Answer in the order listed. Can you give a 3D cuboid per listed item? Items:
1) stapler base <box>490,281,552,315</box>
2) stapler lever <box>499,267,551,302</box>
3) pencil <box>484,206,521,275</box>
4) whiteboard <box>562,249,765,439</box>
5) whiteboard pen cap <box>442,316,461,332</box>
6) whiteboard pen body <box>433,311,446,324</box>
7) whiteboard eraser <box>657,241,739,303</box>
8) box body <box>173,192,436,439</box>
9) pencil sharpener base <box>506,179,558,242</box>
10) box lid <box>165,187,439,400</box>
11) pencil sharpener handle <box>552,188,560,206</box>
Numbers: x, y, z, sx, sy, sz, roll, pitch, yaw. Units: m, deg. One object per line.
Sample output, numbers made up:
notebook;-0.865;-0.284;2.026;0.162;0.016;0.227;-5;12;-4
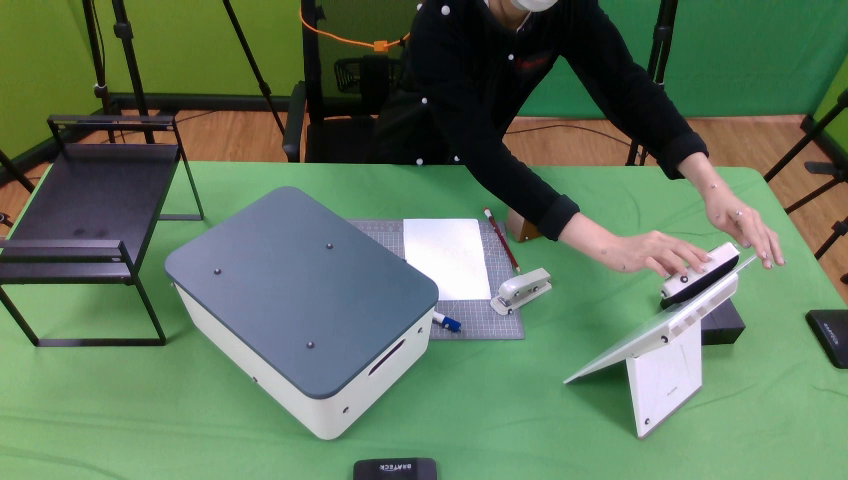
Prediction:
stapler base;0.181;0.094;1.118;0.130;0.024;0.041;-24;57;-29
stapler lever;0.185;0.077;1.101;0.118;0.040;0.026;-24;57;-29
pencil;0.158;-0.001;1.218;0.012;0.012;0.192;-10;48;-14
whiteboard;0.386;0.176;0.905;0.217;0.306;0.143;-26;72;-26
whiteboard pen cap;0.048;0.146;1.060;0.033;0.018;0.018;24;49;16
whiteboard pen body;-0.004;0.123;1.074;0.140;0.017;0.017;24;49;15
whiteboard eraser;0.392;0.048;0.865;0.112;0.056;0.041;-34;74;3
box body;-0.191;0.110;0.979;0.362;0.161;0.254;33;53;24
pencil sharpener base;0.216;-0.059;1.211;0.077;0.107;0.061;-16;49;-19
box lid;-0.186;0.060;0.925;0.370;0.015;0.263;32;53;25
pencil sharpener handle;0.261;-0.084;1.221;0.031;0.068;0.036;-16;65;-19
